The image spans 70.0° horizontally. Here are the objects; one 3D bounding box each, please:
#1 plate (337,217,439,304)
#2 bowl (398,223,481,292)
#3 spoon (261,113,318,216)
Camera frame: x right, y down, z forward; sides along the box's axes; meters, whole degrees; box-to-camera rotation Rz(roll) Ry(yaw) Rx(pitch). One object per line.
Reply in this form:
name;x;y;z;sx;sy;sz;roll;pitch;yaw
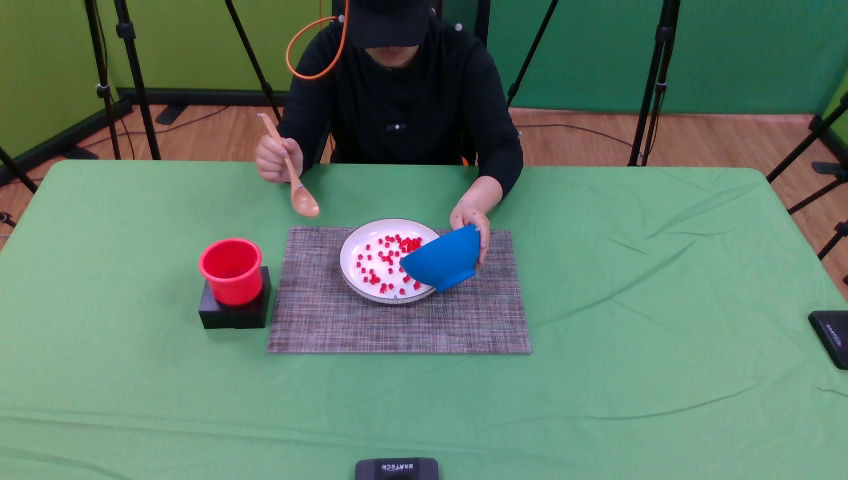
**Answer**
plate;-0.058;0.042;1.137;0.208;0.039;0.206;2;46;-2
bowl;0.040;0.039;1.039;0.151;0.151;0.076;-23;82;-23
spoon;-0.222;-0.124;0.993;0.042;0.021;0.193;-20;85;-39
